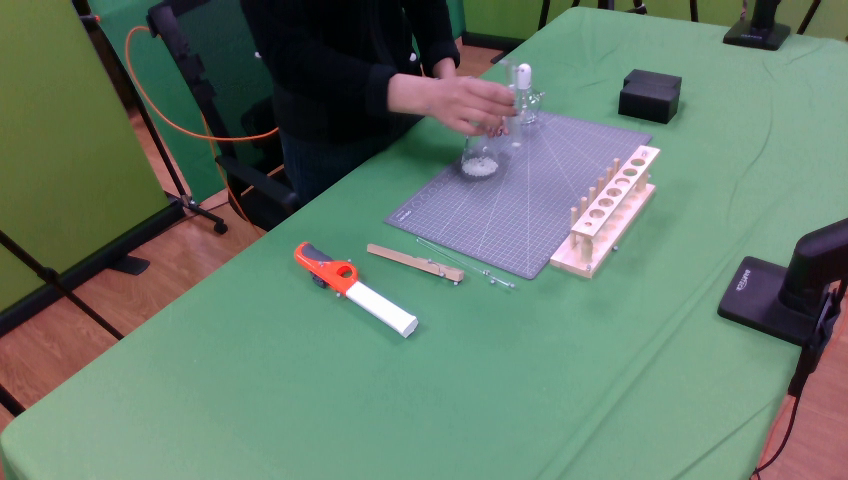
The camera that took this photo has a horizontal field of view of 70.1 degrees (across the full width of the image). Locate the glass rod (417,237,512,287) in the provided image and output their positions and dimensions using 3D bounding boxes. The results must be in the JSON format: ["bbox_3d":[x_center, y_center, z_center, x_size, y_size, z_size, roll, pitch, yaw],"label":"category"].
[{"bbox_3d":[0.058,0.032,0.944,0.198,0.008,0.008,26,52,38],"label":"glass rod"}]

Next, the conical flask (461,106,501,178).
[{"bbox_3d":[0.099,-0.179,1.095,0.075,0.122,0.075,-6,40,5],"label":"conical flask"}]

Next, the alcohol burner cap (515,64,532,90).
[{"bbox_3d":[0.199,-0.325,1.198,0.034,0.048,0.033,0,46,1],"label":"alcohol burner cap"}]

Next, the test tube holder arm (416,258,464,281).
[{"bbox_3d":[0.022,0.045,0.931,0.087,0.015,0.010,16,10,28],"label":"test tube holder arm"}]

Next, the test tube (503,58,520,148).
[{"bbox_3d":[0.130,-0.197,0.889,0.017,0.151,0.017,-7,44,7],"label":"test tube"}]

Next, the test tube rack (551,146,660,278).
[{"bbox_3d":[0.286,-0.053,0.943,0.066,0.085,0.243,21,49,32],"label":"test tube rack"}]

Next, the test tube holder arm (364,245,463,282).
[{"bbox_3d":[-0.020,0.035,0.947,0.177,0.015,0.013,16,10,26],"label":"test tube holder arm"}]

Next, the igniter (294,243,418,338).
[{"bbox_3d":[-0.113,0.070,0.919,0.274,0.025,0.057,29,63,37],"label":"igniter"}]

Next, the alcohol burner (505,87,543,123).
[{"bbox_3d":[0.202,-0.298,1.222,0.078,0.119,0.077,-4,40,4],"label":"alcohol burner"}]
